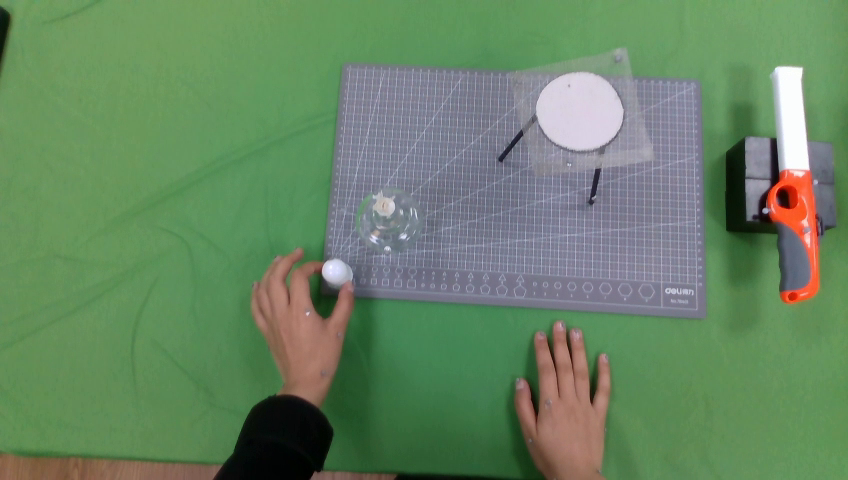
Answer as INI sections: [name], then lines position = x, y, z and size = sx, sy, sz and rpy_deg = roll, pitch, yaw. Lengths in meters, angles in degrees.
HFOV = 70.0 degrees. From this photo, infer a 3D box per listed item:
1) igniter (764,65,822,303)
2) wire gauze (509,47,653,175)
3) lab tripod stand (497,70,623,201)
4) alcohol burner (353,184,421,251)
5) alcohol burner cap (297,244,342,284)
[igniter]
position = 0.407, -0.066, 0.672
size = 0.057, 0.025, 0.275
rpy_deg = 4, 77, 4
[wire gauze]
position = 0.157, -0.130, 0.611
size = 0.125, 0.011, 0.121
rpy_deg = -9, 79, -1
[lab tripod stand]
position = 0.160, -0.123, 0.678
size = 0.148, 0.132, 0.147
rpy_deg = 0, 77, 2
[alcohol burner]
position = -0.042, -0.029, 0.673
size = 0.078, 0.119, 0.077
rpy_deg = 0, 80, 0
[alcohol burner cap]
position = -0.113, 0.030, 0.674
size = 0.048, 0.034, 0.034
rpy_deg = 30, 81, 8
